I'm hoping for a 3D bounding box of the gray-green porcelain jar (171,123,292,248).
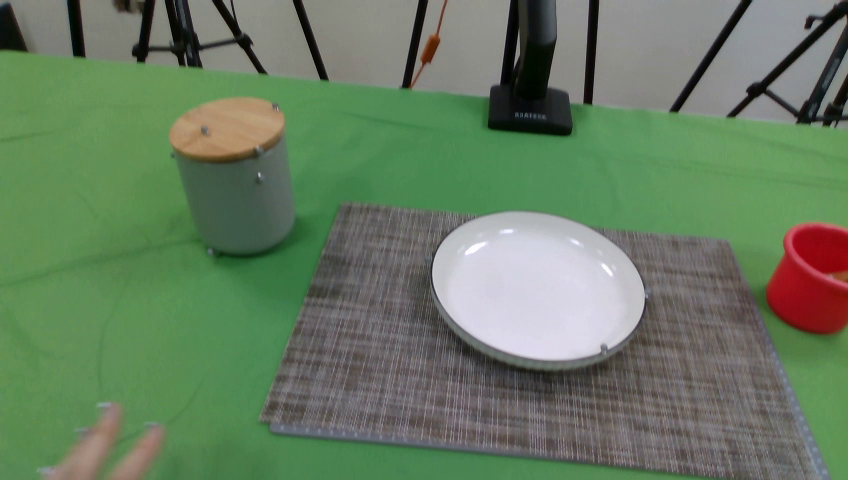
[{"bbox_3d":[-0.194,-0.063,0.628,0.106,0.127,0.105,2,42,-2],"label":"gray-green porcelain jar"}]

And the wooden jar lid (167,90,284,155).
[{"bbox_3d":[-0.189,-0.111,0.585,0.108,0.021,0.107,0,43,0],"label":"wooden jar lid"}]

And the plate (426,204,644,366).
[{"bbox_3d":[0.105,0.043,0.594,0.208,0.039,0.205,2,42,-2],"label":"plate"}]

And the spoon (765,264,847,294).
[{"bbox_3d":[0.426,0.023,0.567,0.193,0.022,0.041,-22,20,45],"label":"spoon"}]
